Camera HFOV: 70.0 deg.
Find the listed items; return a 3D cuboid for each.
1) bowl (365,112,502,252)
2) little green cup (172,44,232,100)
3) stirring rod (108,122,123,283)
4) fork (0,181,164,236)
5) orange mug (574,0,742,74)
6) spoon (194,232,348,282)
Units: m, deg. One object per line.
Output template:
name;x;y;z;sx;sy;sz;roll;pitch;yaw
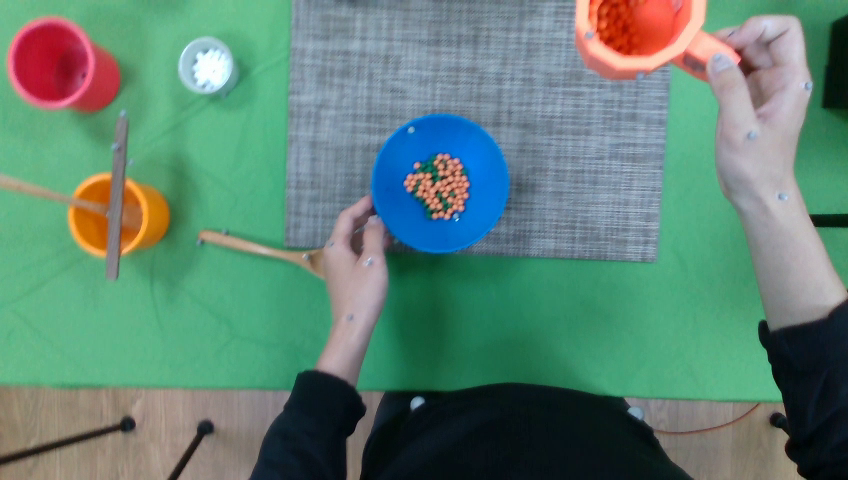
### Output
bowl;0.012;-0.064;0.692;0.151;0.077;0.151;0;94;2
little green cup;-0.258;-0.195;0.712;0.061;0.038;0.061;0;93;2
stirring rod;-0.339;-0.041;0.664;0.014;0.006;0.176;3;93;2
fork;-0.393;-0.039;0.668;0.209;0.018;0.028;19;96;-43
orange mug;0.172;-0.166;0.452;0.126;0.101;0.083;35;105;8
spoon;-0.185;0.014;0.730;0.194;0.021;0.042;12;108;0
